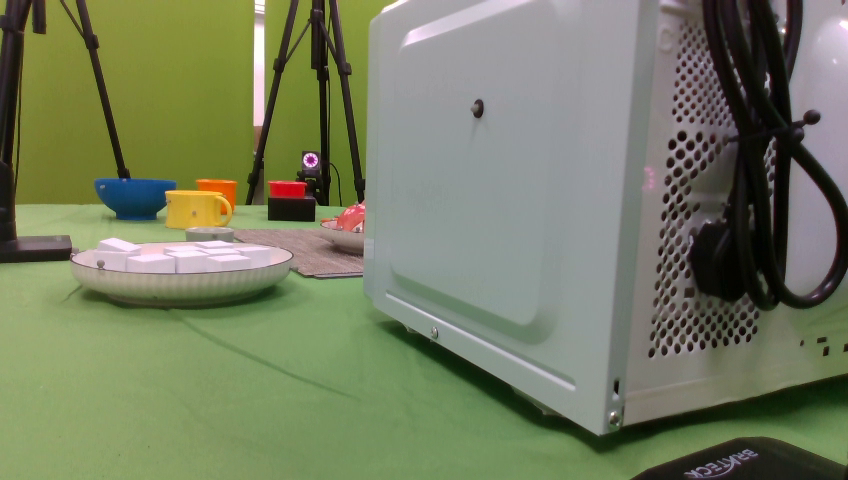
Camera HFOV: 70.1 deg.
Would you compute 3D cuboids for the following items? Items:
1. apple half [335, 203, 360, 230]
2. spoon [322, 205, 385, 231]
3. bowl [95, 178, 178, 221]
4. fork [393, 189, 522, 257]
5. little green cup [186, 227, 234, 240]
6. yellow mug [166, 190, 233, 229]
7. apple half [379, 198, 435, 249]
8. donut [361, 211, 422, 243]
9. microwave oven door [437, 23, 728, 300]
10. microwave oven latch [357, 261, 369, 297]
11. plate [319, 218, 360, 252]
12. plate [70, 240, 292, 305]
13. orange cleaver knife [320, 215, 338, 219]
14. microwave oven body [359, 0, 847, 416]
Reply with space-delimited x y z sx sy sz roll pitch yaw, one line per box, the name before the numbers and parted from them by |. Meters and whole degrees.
apple half | -0.116 -0.038 0.959 0.081 0.033 0.081 -38 8 7
spoon | -0.124 -0.045 1.125 0.041 0.021 0.194 -16 8 31
bowl | -0.576 -0.081 1.217 0.151 0.077 0.151 4 8 0
fork | 0.050 -0.024 0.808 0.208 0.018 0.028 -31 5 -19
little green cup | -0.285 0.005 0.805 0.061 0.038 0.061 2 8 0
yellow mug | -0.415 -0.057 1.132 0.130 0.064 0.100 6 8 16
apple half | -0.020 -0.030 0.891 0.081 0.053 0.074 -2 49 -26
donut | -0.051 -0.020 0.958 0.099 0.048 0.099 5 7 0
microwave oven door | 0.181 -0.072 0.621 0.358 0.243 0.039 -2 8 -29
microwave oven latch | -0.019 0.033 0.531 0.079 0.029 0.030 -1 7 -27
plate | -0.059 -0.007 0.939 0.209 0.038 0.209 3 8 0
plate | -0.242 0.031 0.618 0.208 0.039 0.207 2 8 0
orange cleaver knife | -0.142 -0.057 1.394 0.077 0.012 0.212 2 7 44
microwave oven body | 0.211 -0.047 0.474 0.444 0.260 0.324 -1 7 -28
